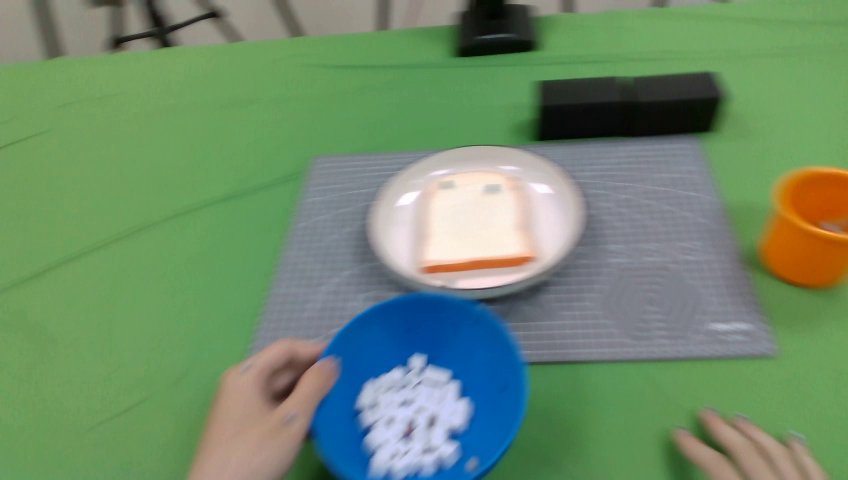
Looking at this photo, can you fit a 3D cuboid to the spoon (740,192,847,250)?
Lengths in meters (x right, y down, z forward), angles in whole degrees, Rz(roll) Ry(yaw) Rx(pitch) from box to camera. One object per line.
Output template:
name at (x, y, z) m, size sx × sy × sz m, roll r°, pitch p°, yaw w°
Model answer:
spoon at (0.361, -0.036, 0.503) m, size 0.022 × 0.193 × 0.041 m, roll 35°, pitch 49°, yaw -20°

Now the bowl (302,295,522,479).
bowl at (-0.006, 0.123, 0.441) m, size 0.151 × 0.077 × 0.150 m, roll -3°, pitch 49°, yaw 3°

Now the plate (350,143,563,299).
plate at (0.031, -0.020, 0.607) m, size 0.209 × 0.038 × 0.207 m, roll -4°, pitch 47°, yaw 5°

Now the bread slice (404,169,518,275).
bread slice at (0.029, -0.021, 0.613) m, size 0.107 × 0.018 × 0.133 m, roll -9°, pitch 48°, yaw 0°
